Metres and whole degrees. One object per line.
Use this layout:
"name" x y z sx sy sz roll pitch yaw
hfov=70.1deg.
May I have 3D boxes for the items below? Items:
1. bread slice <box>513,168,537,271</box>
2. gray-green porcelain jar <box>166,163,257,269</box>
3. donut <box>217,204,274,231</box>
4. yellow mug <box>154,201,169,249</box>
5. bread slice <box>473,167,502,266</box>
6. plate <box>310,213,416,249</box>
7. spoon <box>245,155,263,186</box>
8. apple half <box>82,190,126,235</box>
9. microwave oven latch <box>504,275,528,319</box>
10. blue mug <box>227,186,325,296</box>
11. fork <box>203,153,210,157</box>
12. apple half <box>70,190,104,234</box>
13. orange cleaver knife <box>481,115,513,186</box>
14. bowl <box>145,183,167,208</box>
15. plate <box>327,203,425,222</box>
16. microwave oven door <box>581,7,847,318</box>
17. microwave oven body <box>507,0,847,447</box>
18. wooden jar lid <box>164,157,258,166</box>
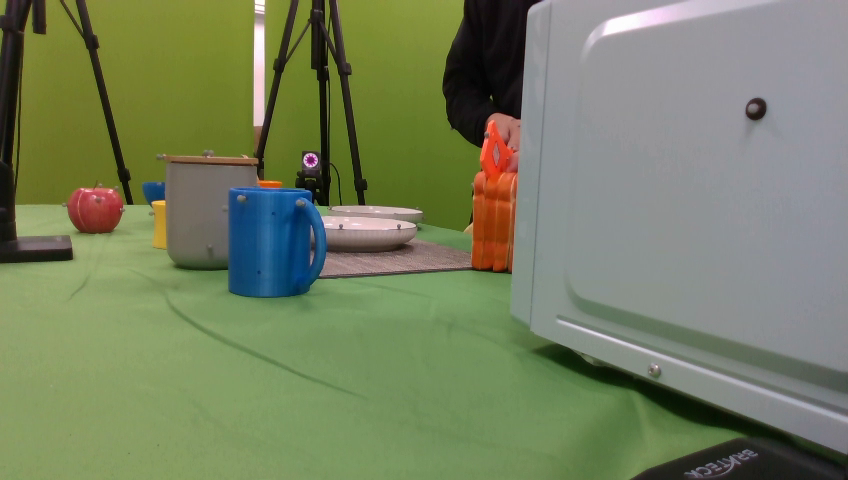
"bread slice" 0.137 -0.030 0.823 0.018 0.134 0.107 1 10 18
"gray-green porcelain jar" -0.263 -0.031 0.754 0.106 0.126 0.106 2 7 0
"donut" -0.317 -0.038 1.080 0.099 0.048 0.099 3 7 0
"yellow mug" -0.338 -0.022 0.899 0.130 0.064 0.100 8 9 35
"bread slice" 0.088 -0.036 0.839 0.019 0.131 0.105 0 5 20
"plate" -0.116 -0.014 0.967 0.208 0.039 0.207 2 7 0
"spoon" -0.421 -0.150 1.540 0.042 0.021 0.193 -5 55 -37
"apple half" -0.516 -0.046 0.994 0.032 0.081 0.081 0 6 26
"microwave oven latch" 0.100 0.042 0.470 0.079 0.029 0.030 -1 7 -28
"blue mug" -0.146 0.000 0.618 0.116 0.106 0.083 7 9 32
"fork" -0.480 -0.136 1.411 0.028 0.018 0.207 1 -34 -1
"apple half" -0.552 -0.047 1.009 0.053 0.074 0.081 -1 9 26
"orange cleaver knife" 0.112 -0.117 0.863 0.012 0.077 0.212 5 -3 20
"bowl" -0.459 -0.068 1.175 0.151 0.077 0.151 3 7 0
"plate" -0.102 -0.053 1.299 0.209 0.038 0.209 2 8 0
"microwave oven door" 0.295 -0.067 0.569 0.358 0.243 0.039 -3 8 -31
"microwave oven body" 0.331 -0.042 0.425 0.444 0.260 0.324 -2 8 -31
"wooden jar lid" -0.261 -0.093 0.746 0.108 0.020 0.108 0 9 0
